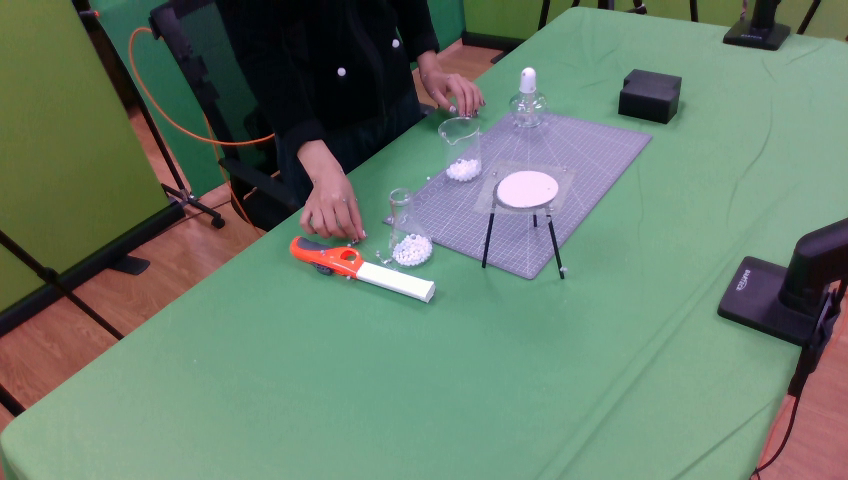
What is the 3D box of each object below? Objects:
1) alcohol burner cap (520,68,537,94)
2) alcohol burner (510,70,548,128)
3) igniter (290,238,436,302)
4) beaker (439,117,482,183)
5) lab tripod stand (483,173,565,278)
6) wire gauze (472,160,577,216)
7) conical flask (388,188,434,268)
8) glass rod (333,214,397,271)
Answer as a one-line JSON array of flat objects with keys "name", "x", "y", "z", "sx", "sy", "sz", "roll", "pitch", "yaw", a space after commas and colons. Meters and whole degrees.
[{"name": "alcohol burner cap", "x": 0.205, "y": -0.313, "z": 1.183, "sx": 0.034, "sy": 0.048, "sz": 0.033, "roll": -3, "pitch": 50, "yaw": 4}, {"name": "alcohol burner", "x": 0.209, "y": -0.287, "z": 1.208, "sx": 0.078, "sy": 0.119, "sz": 0.077, "roll": -5, "pitch": 42, "yaw": 5}, {"name": "igniter", "x": -0.106, "y": 0.043, "z": 0.949, "sx": 0.274, "sy": 0.025, "sz": 0.057, "roll": 16, "pitch": 57, "yaw": 27}, {"name": "beaker", "x": 0.068, "y": -0.160, "z": 1.097, "sx": 0.073, "sy": 0.101, "sz": 0.084, "roll": 7, "pitch": 43, "yaw": 19}, {"name": "lab tripod stand", "x": 0.151, "y": -0.025, "z": 0.896, "sx": 0.148, "sy": 0.132, "sz": 0.147, "roll": -7, "pitch": 40, "yaw": 6}, {"name": "wire gauze", "x": 0.143, "y": -0.073, "z": 0.850, "sx": 0.121, "sy": 0.011, "sz": 0.125, "roll": 8, "pitch": 43, "yaw": 22}, {"name": "conical flask", "x": -0.028, "y": -0.022, "z": 0.937, "sx": 0.075, "sy": 0.122, "sz": 0.075, "roll": -6, "pitch": 40, "yaw": 5}, {"name": "glass rod", "x": -0.101, "y": 0.002, "z": 1.008, "sx": 0.008, "sy": 0.008, "sz": 0.198, "roll": -30, "pitch": 45, "yaw": -22}]
